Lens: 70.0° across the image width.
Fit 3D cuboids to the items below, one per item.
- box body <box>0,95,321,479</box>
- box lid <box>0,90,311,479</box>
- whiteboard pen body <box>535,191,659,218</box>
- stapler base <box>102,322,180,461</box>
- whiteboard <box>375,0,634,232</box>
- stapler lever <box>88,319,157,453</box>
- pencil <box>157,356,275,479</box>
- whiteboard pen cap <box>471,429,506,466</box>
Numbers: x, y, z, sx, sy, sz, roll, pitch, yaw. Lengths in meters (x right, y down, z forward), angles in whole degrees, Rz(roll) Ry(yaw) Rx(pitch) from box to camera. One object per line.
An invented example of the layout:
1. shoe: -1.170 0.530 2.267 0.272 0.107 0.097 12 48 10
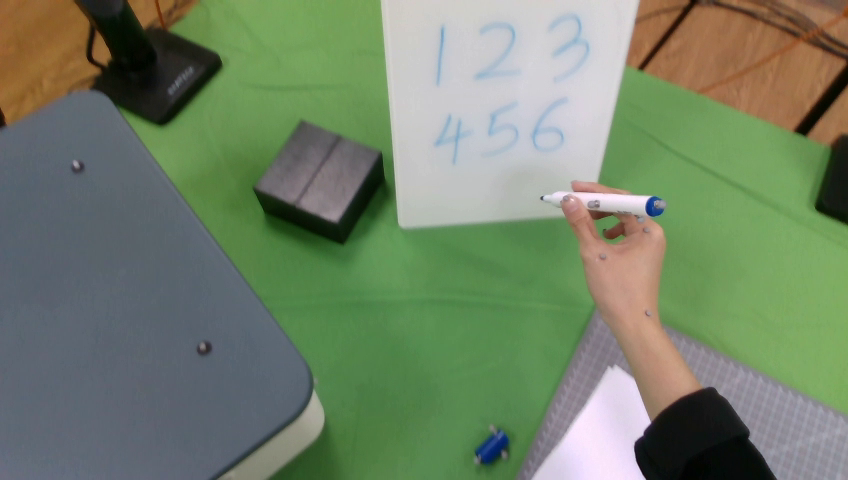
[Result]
1. box body: -0.286 0.090 0.523 0.254 0.161 0.361 -37 70 -17
2. box lid: -0.287 0.055 0.457 0.263 0.015 0.369 -36 71 -17
3. whiteboard pen body: 0.136 -0.031 0.503 0.017 0.140 0.017 -4 98 -27
4. stapler base: -0.268 0.137 0.567 0.041 0.025 0.129 1 66 19
5. whiteboard: 0.066 -0.175 0.614 0.217 0.308 0.142 -4 44 -2
6. stapler lever: -0.274 0.128 0.545 0.026 0.040 0.117 1 65 19
7. pencil: -0.204 0.181 0.555 0.012 0.012 0.193 30 55 14
8. whiteboard pen cap: 0.061 0.191 0.560 0.033 0.018 0.018 -38 69 -19
